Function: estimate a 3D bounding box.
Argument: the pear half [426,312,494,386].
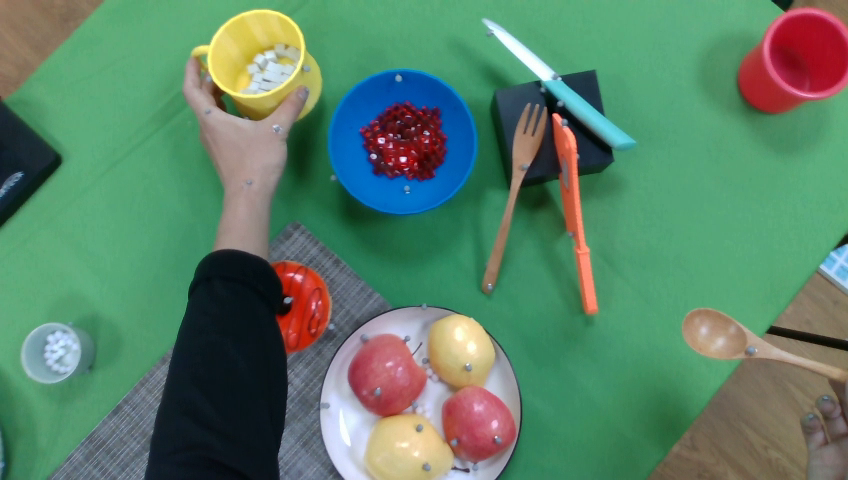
[{"bbox_3d":[0.035,0.119,0.621,0.070,0.031,0.088,-17,95,21],"label":"pear half"}]

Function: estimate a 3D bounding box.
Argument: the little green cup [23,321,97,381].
[{"bbox_3d":[-0.380,0.116,0.638,0.061,0.039,0.061,0,84,1],"label":"little green cup"}]

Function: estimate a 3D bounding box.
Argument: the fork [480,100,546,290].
[{"bbox_3d":[0.089,-0.042,0.631,0.028,0.018,0.208,11,104,-8],"label":"fork"}]

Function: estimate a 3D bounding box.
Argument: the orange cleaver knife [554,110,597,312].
[{"bbox_3d":[0.157,-0.028,0.632,0.012,0.076,0.212,-12,109,3],"label":"orange cleaver knife"}]

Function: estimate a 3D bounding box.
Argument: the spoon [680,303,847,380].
[{"bbox_3d":[0.305,0.097,0.487,0.192,0.022,0.041,19,73,22],"label":"spoon"}]

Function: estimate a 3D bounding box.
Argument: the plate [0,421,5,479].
[{"bbox_3d":[-0.534,0.226,0.627,0.208,0.039,0.207,0,84,0],"label":"plate"}]

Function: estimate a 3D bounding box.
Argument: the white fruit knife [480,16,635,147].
[{"bbox_3d":[0.135,-0.166,0.631,0.207,0.016,0.027,43,57,6],"label":"white fruit knife"}]

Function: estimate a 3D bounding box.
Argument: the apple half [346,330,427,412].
[{"bbox_3d":[-0.040,0.136,0.615,0.074,0.053,0.080,-30,88,-3],"label":"apple half"}]

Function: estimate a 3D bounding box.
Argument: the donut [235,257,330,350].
[{"bbox_3d":[-0.148,0.067,0.637,0.099,0.048,0.099,0,86,1],"label":"donut"}]

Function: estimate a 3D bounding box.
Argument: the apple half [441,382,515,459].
[{"bbox_3d":[0.048,0.186,0.610,0.081,0.033,0.081,3,99,18],"label":"apple half"}]

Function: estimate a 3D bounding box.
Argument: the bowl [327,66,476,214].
[{"bbox_3d":[-0.022,-0.097,0.641,0.151,0.077,0.151,0,84,-1],"label":"bowl"}]

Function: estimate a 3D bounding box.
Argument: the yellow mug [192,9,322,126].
[{"bbox_3d":[-0.179,-0.180,0.631,0.130,0.064,0.099,8,76,8],"label":"yellow mug"}]

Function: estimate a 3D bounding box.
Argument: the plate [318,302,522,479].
[{"bbox_3d":[-0.004,0.168,0.630,0.209,0.038,0.208,0,84,0],"label":"plate"}]

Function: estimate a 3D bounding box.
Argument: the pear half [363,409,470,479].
[{"bbox_3d":[-0.004,0.216,0.611,0.110,0.056,0.076,16,89,-2],"label":"pear half"}]
